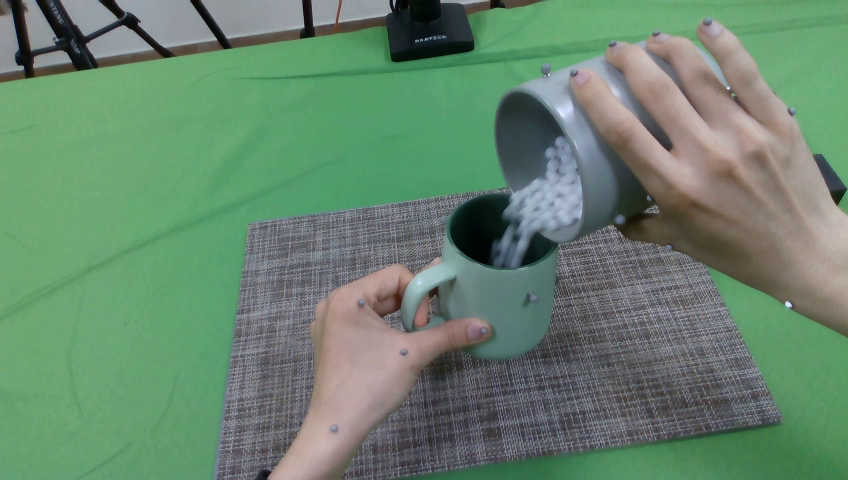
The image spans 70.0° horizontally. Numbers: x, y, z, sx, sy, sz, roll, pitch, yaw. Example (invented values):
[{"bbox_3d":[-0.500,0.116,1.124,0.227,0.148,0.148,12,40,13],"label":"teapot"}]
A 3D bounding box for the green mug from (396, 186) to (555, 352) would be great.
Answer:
[{"bbox_3d":[0.037,0.030,0.451,0.125,0.106,0.091,-23,51,-21],"label":"green mug"}]

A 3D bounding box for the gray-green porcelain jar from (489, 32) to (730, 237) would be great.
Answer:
[{"bbox_3d":[0.124,-0.073,0.401,0.126,0.107,0.104,-23,51,-15],"label":"gray-green porcelain jar"}]
